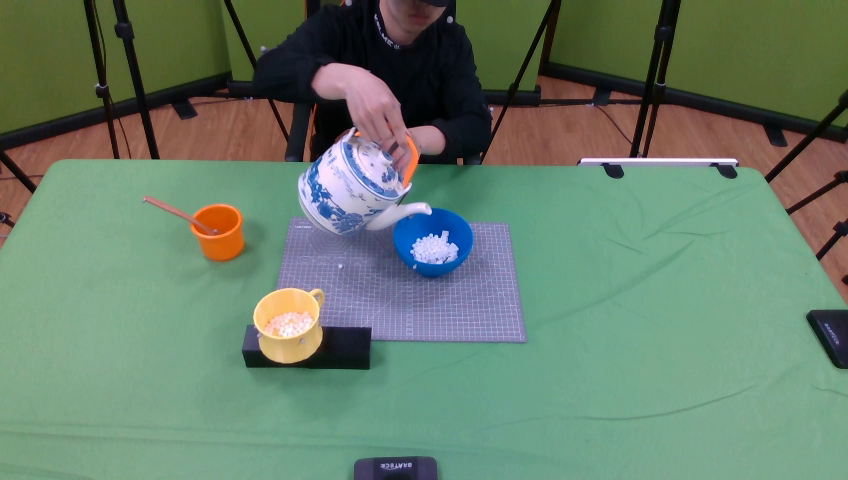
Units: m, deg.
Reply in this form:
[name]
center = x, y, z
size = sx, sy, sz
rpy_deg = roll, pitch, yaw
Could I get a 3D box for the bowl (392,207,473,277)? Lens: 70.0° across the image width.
[bowl]
center = 0.014, 0.016, 1.140
size = 0.151, 0.077, 0.150
rpy_deg = 2, 47, -2

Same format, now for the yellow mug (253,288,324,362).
[yellow mug]
center = -0.205, 0.124, 0.963
size = 0.099, 0.064, 0.130
rpy_deg = 27, 48, 21

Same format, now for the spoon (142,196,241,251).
[spoon]
center = -0.421, -0.032, 1.108
size = 0.021, 0.195, 0.041
rpy_deg = -32, 40, 27

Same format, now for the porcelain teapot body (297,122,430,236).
[porcelain teapot body]
center = -0.087, -0.096, 1.062
size = 0.206, 0.225, 0.144
rpy_deg = 43, 31, -20

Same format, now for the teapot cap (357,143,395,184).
[teapot cap]
center = -0.078, -0.133, 1.034
size = 0.085, 0.044, 0.084
rpy_deg = 39, 32, -29
